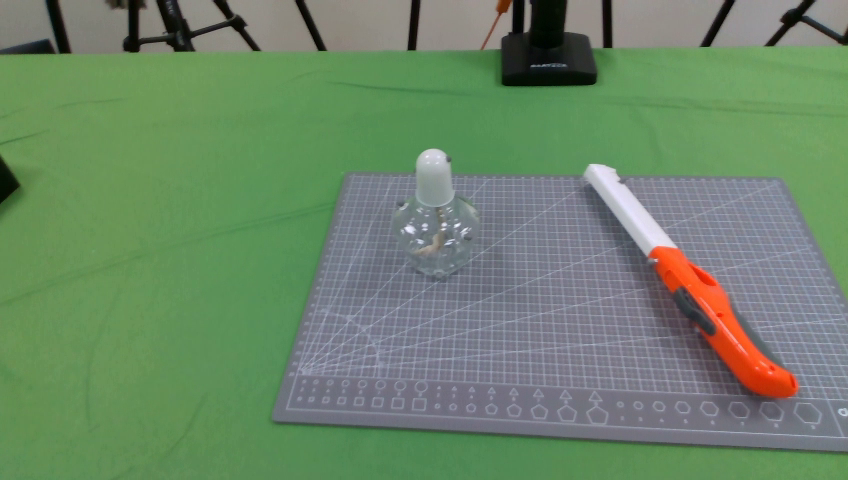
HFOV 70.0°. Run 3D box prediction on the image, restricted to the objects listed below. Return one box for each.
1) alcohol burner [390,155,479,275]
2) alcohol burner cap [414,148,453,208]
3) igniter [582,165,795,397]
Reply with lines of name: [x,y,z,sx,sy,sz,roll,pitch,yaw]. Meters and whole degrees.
alcohol burner: [0.009,-0.026,0.518,0.078,0.120,0.077,-1,45,1]
alcohol burner cap: [0.007,-0.053,0.493,0.034,0.048,0.033,-1,47,1]
igniter: [0.209,0.019,0.515,0.057,0.025,0.273,6,38,-23]
